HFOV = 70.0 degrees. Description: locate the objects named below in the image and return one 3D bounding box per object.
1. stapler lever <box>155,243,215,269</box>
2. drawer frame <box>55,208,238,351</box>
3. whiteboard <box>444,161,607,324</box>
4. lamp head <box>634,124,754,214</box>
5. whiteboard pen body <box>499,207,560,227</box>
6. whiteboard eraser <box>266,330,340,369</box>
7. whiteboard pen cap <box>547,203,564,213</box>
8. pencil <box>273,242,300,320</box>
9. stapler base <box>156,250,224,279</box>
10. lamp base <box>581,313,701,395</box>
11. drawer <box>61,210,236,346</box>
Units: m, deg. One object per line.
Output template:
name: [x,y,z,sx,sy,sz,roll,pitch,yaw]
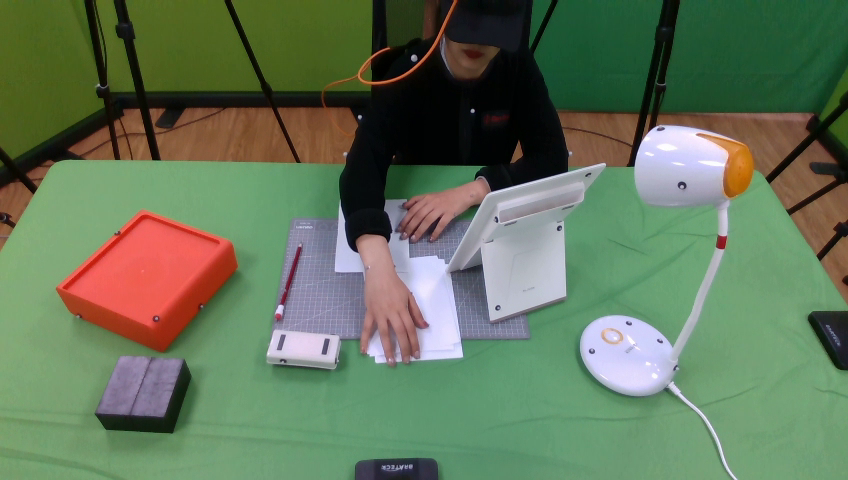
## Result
stapler lever: [-0.433,0.023,1.097,0.118,0.040,0.026,14,39,14]
drawer frame: [-0.474,0.062,1.060,0.201,0.083,0.213,18,48,12]
whiteboard: [0.186,0.025,1.029,0.217,0.306,0.143,-15,68,-18]
lamp head: [0.351,-0.089,0.776,0.112,0.113,0.122,-30,30,-28]
whiteboard pen body: [0.222,-0.051,1.260,0.141,0.017,0.017,-15,49,-16]
whiteboard eraser: [-0.198,0.181,0.994,0.113,0.042,0.055,5,45,1]
whiteboard pen cap: [0.277,-0.066,1.275,0.033,0.018,0.018,-18,50,-15]
pencil: [-0.249,0.071,1.115,0.012,0.012,0.193,5,44,1]
stapler base: [-0.431,0.040,1.110,0.130,0.024,0.041,11,38,17]
lamp base: [0.361,0.144,0.973,0.178,0.181,0.160,34,53,23]
drawer: [-0.474,0.061,1.063,0.194,0.073,0.211,19,48,13]
